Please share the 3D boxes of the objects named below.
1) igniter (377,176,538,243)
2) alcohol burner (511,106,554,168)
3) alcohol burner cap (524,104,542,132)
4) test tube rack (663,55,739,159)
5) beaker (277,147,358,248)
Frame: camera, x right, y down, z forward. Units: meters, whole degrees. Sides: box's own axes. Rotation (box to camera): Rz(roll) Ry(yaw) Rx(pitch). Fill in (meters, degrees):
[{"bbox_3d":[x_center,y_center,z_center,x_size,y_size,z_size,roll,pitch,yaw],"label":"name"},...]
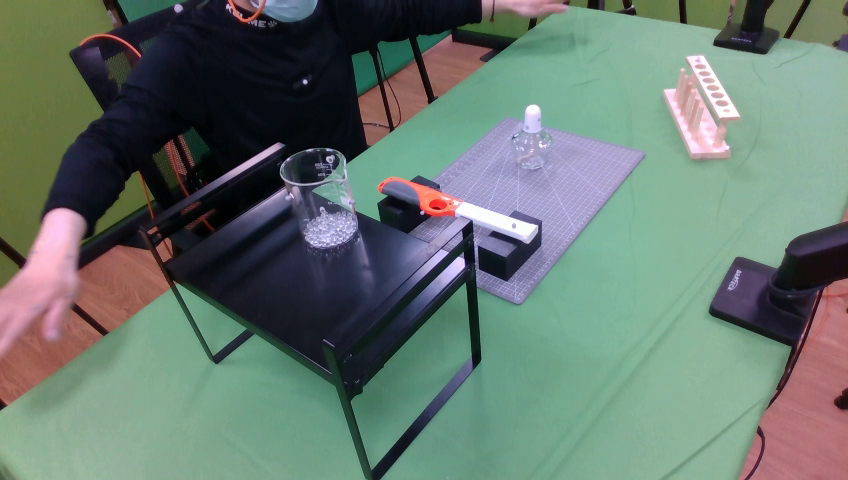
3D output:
[{"bbox_3d":[0.046,-0.052,0.942,0.274,0.025,0.057,21,47,26],"label":"igniter"},{"bbox_3d":[0.196,-0.190,1.088,0.078,0.119,0.077,-3,42,3],"label":"alcohol burner"},{"bbox_3d":[0.193,-0.216,1.065,0.034,0.048,0.033,-4,36,3],"label":"alcohol burner cap"},{"bbox_3d":[0.518,-0.256,1.144,0.066,0.085,0.241,-1,41,8],"label":"test tube rack"},{"bbox_3d":[-0.117,-0.046,0.705,0.083,0.101,0.074,17,47,25],"label":"beaker"}]
